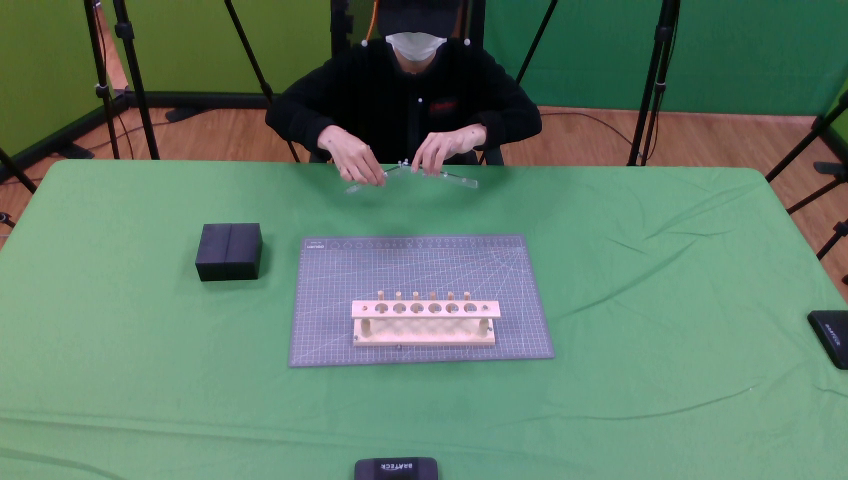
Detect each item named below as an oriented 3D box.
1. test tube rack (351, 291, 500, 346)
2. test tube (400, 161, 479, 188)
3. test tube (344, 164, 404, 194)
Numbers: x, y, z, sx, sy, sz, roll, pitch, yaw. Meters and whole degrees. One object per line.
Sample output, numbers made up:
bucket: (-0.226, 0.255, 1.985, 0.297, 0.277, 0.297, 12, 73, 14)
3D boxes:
test tube rack: (0.000, 0.129, 1.026, 0.242, 0.085, 0.066, 1, 46, -4)
test tube: (0.029, -0.120, 1.120, 0.150, 0.017, 0.017, 14, 46, 3)
test tube: (-0.099, -0.116, 1.169, 0.150, 0.017, 0.017, -18, 34, 34)
